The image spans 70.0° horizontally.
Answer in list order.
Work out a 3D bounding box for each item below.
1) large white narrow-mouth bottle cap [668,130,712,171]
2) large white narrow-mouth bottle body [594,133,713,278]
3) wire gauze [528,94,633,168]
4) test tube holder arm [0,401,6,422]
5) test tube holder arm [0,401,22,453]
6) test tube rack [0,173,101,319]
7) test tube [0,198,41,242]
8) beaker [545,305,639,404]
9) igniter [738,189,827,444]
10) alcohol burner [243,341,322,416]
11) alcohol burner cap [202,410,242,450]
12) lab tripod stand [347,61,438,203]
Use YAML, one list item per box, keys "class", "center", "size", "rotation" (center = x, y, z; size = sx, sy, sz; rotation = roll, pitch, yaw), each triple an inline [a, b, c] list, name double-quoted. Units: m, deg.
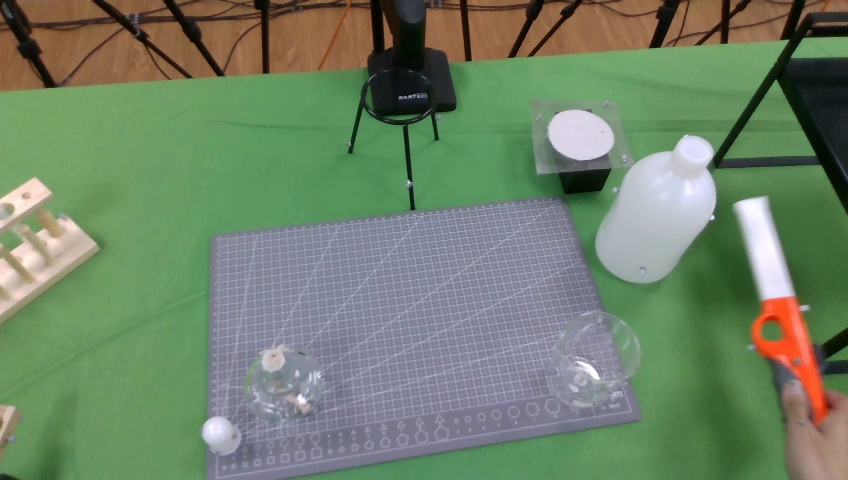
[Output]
- class: "large white narrow-mouth bottle cap"
  center: [0.263, -0.089, 0.602]
  size: [0.038, 0.024, 0.037]
  rotation: [1, 58, -2]
- class: "large white narrow-mouth bottle body"
  center: [0.260, -0.042, 0.674]
  size: [0.102, 0.196, 0.101]
  rotation: [1, 58, -1]
- class: "wire gauze"
  center: [0.199, -0.143, 0.784]
  size: [0.121, 0.011, 0.124]
  rotation: [0, 58, -3]
- class: "test tube holder arm"
  center: [-0.400, 0.190, 0.551]
  size: [0.010, 0.015, 0.087]
  rotation: [2, 59, 6]
- class: "test tube holder arm"
  center: [-0.399, 0.229, 0.527]
  size: [0.013, 0.015, 0.177]
  rotation: [3, 59, 7]
- class: "test tube rack"
  center: [-0.489, 0.042, 0.651]
  size: [0.066, 0.086, 0.242]
  rotation: [37, 64, 18]
- class: "test tube"
  center: [-0.457, -0.039, 0.644]
  size: [0.017, 0.151, 0.017]
  rotation: [-1, 61, 2]
- class: "beaker"
  center: [0.165, 0.122, 0.623]
  size: [0.084, 0.101, 0.073]
  rotation: [-2, 58, -2]
- class: "igniter"
  center: [0.359, 0.065, 0.614]
  size: [0.057, 0.025, 0.274]
  rotation: [-9, 56, 23]
- class: "alcohol burner"
  center: [-0.140, 0.130, 0.595]
  size: [0.078, 0.120, 0.077]
  rotation: [2, 57, -3]
- class: "alcohol burner cap"
  center: [-0.202, 0.186, 0.600]
  size: [0.034, 0.048, 0.033]
  rotation: [1, 59, -1]
- class: "lab tripod stand"
  center: [-0.030, -0.140, 0.756]
  size: [0.148, 0.132, 0.147]
  rotation: [2, 59, -3]
